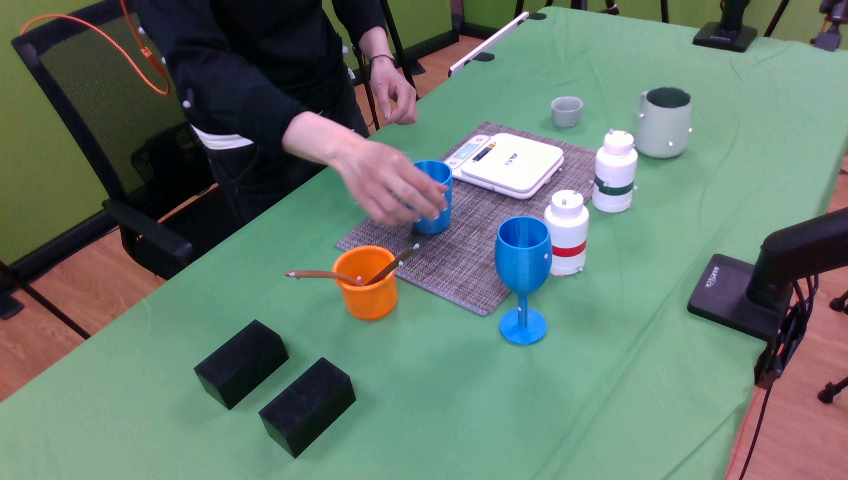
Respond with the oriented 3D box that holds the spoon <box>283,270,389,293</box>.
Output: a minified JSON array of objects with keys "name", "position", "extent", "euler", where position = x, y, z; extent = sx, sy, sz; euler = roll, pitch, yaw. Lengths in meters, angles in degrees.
[{"name":"spoon","position":[-0.117,0.054,0.825],"extent":[0.041,0.195,0.021],"euler":[19,90,38]}]

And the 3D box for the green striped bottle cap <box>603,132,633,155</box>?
[{"name":"green striped bottle cap","position":[0.302,-0.149,0.939],"extent":[0.044,0.020,0.044],"euler":[-3,40,3]}]

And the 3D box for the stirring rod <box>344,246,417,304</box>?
[{"name":"stirring rod","position":[-0.062,0.050,0.818],"extent":[0.014,0.175,0.006],"euler":[-2,63,-41]}]

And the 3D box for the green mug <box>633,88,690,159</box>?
[{"name":"green mug","position":[0.423,-0.217,1.099],"extent":[0.093,0.105,0.124],"euler":[-16,41,-10]}]

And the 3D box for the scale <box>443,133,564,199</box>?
[{"name":"scale","position":[0.137,-0.142,1.101],"extent":[0.199,0.032,0.149],"euler":[22,48,30]}]

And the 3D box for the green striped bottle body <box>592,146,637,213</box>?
[{"name":"green striped bottle body","position":[0.307,-0.108,0.976],"extent":[0.063,0.120,0.063],"euler":[-4,41,4]}]

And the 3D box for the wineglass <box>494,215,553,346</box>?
[{"name":"wineglass","position":[0.127,0.055,0.770],"extent":[0.074,0.173,0.073],"euler":[-4,40,4]}]

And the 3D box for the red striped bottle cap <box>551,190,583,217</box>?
[{"name":"red striped bottle cap","position":[0.200,-0.051,0.843],"extent":[0.044,0.018,0.044],"euler":[-3,41,3]}]

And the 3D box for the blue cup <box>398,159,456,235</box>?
[{"name":"blue cup","position":[0.006,-0.065,0.977],"extent":[0.092,0.100,0.092],"euler":[-4,39,4]}]

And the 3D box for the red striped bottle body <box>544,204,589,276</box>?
[{"name":"red striped bottle body","position":[0.206,-0.011,0.878],"extent":[0.063,0.120,0.062],"euler":[-5,40,4]}]

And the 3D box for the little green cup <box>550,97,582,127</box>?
[{"name":"little green cup","position":[0.284,-0.255,1.213],"extent":[0.061,0.039,0.061],"euler":[-5,41,5]}]
